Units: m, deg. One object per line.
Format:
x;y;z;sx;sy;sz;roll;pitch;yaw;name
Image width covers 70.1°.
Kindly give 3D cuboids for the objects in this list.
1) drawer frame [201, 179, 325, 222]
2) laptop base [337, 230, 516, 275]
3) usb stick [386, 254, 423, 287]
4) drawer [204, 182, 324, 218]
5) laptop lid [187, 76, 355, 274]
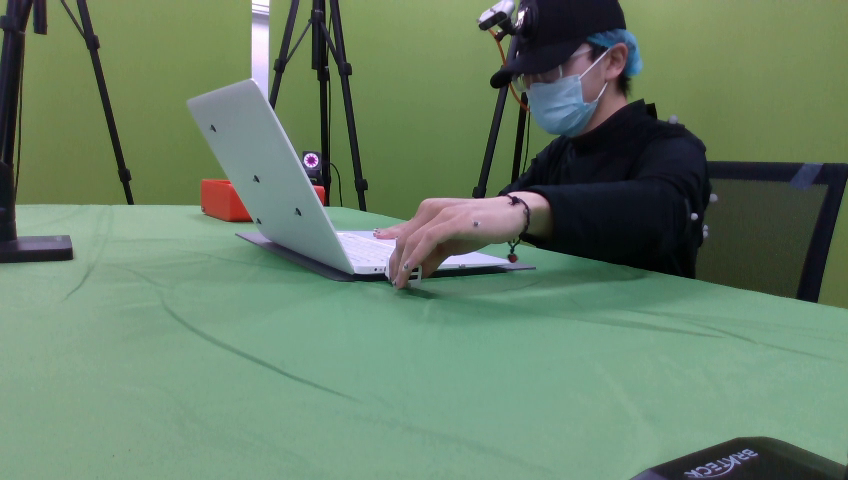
-0.361;-0.092;1.356;0.215;0.082;0.200;-4;10;-37;drawer frame
-0.065;0.015;0.877;0.237;0.023;0.352;2;7;-32;laptop base
-0.026;0.032;0.671;0.021;0.027;0.059;-3;12;-33;usb stick
-0.360;-0.092;1.358;0.213;0.073;0.193;-3;10;-36;drawer
-0.210;-0.082;0.772;0.013;0.242;0.355;-34;25;-23;laptop lid
